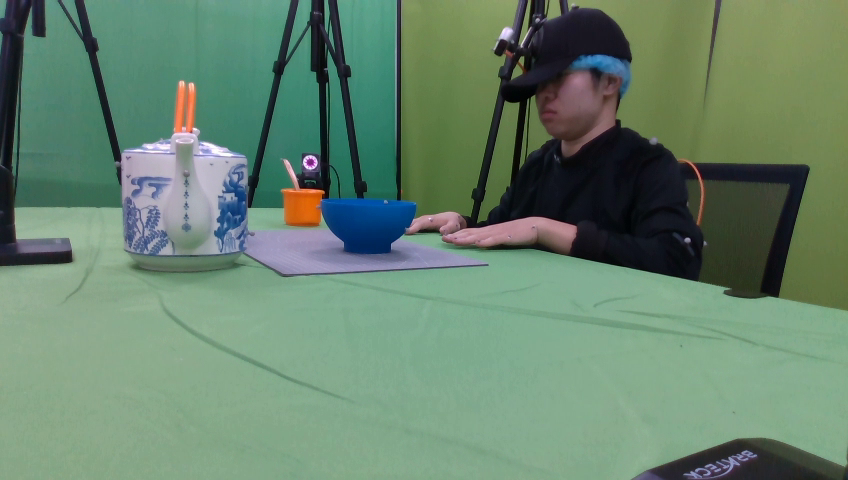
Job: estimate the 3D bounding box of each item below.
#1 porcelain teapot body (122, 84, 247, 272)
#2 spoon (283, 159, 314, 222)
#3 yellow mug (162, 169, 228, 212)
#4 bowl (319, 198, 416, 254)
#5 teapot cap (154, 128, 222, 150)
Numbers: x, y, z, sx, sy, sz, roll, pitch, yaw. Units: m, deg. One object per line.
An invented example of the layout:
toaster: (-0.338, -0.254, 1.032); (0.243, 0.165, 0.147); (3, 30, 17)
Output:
porcelain teapot body: (-0.286, -0.075, 0.733); (0.146, 0.225, 0.204); (0, 8, -24)
spoon: (-0.280, -0.110, 1.323); (0.042, 0.193, 0.021); (1, -38, -34)
yellow mug: (-0.366, -0.082, 0.995); (0.100, 0.064, 0.131); (5, 7, 16)
bowl: (-0.089, -0.022, 0.941); (0.151, 0.077, 0.151); (2, 7, 0)
teapot cap: (-0.294, -0.117, 0.754); (0.085, 0.044, 0.085); (4, 9, 0)
